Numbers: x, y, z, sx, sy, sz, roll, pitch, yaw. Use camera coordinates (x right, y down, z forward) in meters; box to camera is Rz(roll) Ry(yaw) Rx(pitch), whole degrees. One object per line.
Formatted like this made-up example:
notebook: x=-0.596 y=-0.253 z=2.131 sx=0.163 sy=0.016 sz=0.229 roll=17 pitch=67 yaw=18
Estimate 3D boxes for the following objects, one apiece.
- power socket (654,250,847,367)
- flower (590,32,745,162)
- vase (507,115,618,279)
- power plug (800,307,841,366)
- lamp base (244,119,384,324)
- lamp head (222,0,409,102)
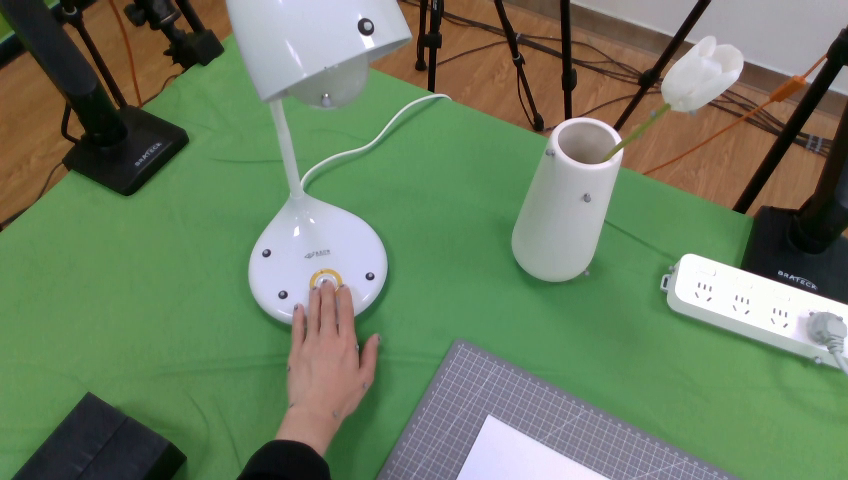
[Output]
power socket: x=0.381 y=0.076 z=0.691 sx=0.226 sy=0.033 sz=0.072 roll=20 pitch=59 yaw=10
flower: x=0.164 y=-0.073 z=0.583 sx=0.044 sy=0.362 sz=0.038 roll=-11 pitch=74 yaw=-19
vase: x=0.148 y=-0.041 z=0.660 sx=0.098 sy=0.201 sz=0.097 roll=1 pitch=55 yaw=0
power plug: x=0.417 y=0.103 z=0.647 sx=0.035 sy=0.053 sz=0.072 roll=30 pitch=66 yaw=17
lamp base: x=-0.132 y=-0.027 z=0.650 sx=0.161 sy=0.182 sz=0.177 roll=-22 pitch=57 yaw=-17
lamp head: x=-0.084 y=-0.165 z=0.396 sx=0.112 sy=0.112 sz=0.123 roll=-30 pitch=100 yaw=-20
